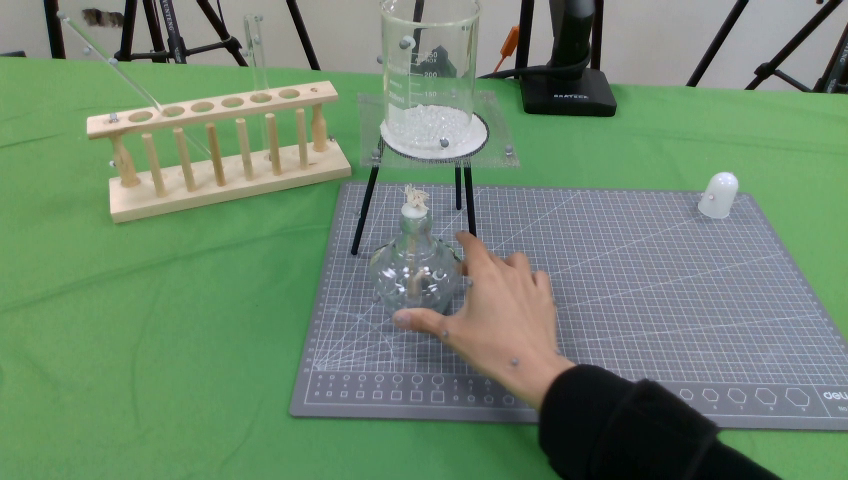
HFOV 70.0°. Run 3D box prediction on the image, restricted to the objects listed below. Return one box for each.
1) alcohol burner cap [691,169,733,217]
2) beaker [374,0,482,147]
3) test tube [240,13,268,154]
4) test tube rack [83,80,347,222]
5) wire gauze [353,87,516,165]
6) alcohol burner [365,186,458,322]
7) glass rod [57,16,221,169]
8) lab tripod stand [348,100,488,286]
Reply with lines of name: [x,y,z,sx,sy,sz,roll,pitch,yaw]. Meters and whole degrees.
alcohol burner cap: [0.302,-0.052,0.631,0.034,0.048,0.033,1,41,-1]
beaker: [-0.001,-0.130,0.461,0.083,0.101,0.074,22,44,24]
test tube: [-0.172,-0.157,0.627,0.017,0.151,0.017,2,38,-1]
test tube rack: [-0.208,-0.097,0.631,0.243,0.086,0.066,-14,43,-18]
wire gauze: [0.004,-0.093,0.494,0.125,0.011,0.120,-4,39,-3]
alcohol burner: [-0.010,0.008,0.491,0.078,0.120,0.077,1,39,0]
glass rod: [-0.266,-0.132,0.584,0.008,0.202,0.008,-17,48,20]
lab tripod stand: [0.002,-0.044,0.537,0.148,0.132,0.147,1,42,0]
